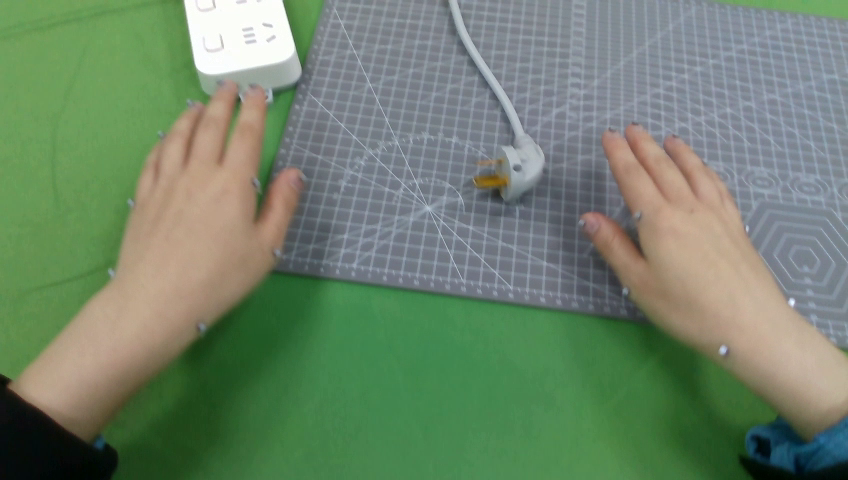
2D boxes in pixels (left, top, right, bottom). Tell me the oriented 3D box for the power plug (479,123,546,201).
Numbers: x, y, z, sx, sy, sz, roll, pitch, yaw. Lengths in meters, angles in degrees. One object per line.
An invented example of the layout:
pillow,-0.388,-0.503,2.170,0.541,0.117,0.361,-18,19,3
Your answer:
power plug,0.057,-0.050,0.377,0.035,0.072,0.052,2,94,13

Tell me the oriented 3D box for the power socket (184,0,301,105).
power socket,-0.151,-0.202,0.474,0.072,0.033,0.224,-13,64,-11
